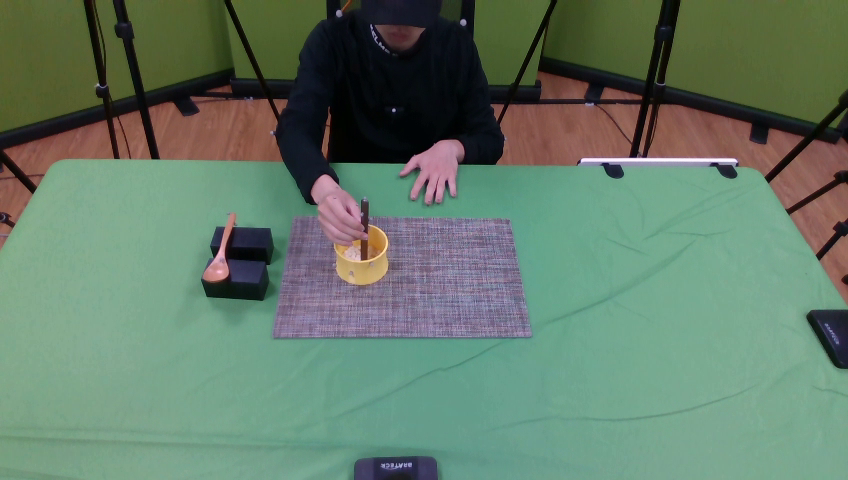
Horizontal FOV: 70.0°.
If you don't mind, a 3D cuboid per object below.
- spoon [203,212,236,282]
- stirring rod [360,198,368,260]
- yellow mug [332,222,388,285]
[{"bbox_3d":[-0.361,0.009,1.097,0.041,0.022,0.192,0,44,-3],"label":"spoon"},{"bbox_3d":[-0.106,-0.010,1.072,0.014,0.177,0.006,22,51,13],"label":"stirring rod"},{"bbox_3d":[-0.127,0.015,1.139,0.100,0.064,0.130,-24,51,-24],"label":"yellow mug"}]
